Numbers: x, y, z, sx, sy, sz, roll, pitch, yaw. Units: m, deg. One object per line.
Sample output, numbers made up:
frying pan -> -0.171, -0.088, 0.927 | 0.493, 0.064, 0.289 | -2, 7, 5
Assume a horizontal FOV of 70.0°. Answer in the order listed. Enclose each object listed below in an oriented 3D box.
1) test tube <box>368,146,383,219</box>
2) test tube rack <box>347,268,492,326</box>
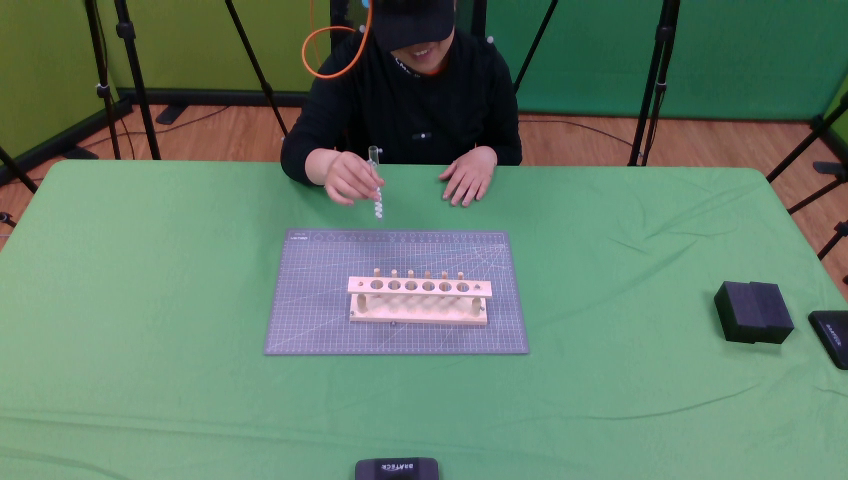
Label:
test tube -> -0.082, -0.095, 1.034 | 0.017, 0.151, 0.017 | -1, 43, 1
test tube rack -> -0.009, 0.095, 1.059 | 0.242, 0.085, 0.066 | 2, 46, -2
